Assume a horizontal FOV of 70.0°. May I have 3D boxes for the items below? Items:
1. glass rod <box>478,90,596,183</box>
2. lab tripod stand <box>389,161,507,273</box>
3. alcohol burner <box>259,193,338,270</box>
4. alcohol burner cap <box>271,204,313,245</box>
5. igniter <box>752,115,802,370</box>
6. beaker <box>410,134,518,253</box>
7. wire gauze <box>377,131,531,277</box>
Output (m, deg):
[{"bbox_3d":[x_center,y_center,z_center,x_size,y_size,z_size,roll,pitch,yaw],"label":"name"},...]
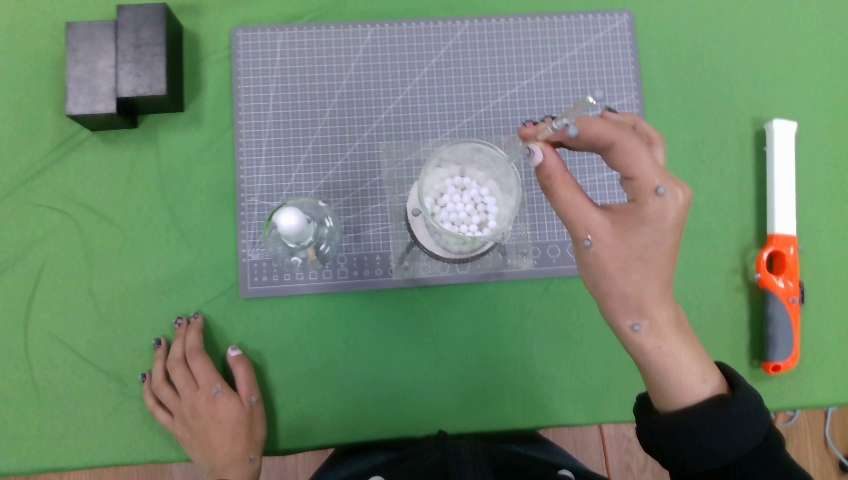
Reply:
[{"bbox_3d":[0.062,-0.057,0.381,0.008,0.199,0.008,1,84,-10],"label":"glass rod"},{"bbox_3d":[0.022,-0.020,0.587,0.148,0.132,0.148,0,82,0],"label":"lab tripod stand"},{"bbox_3d":[-0.124,-0.011,0.590,0.078,0.119,0.077,0,80,-2],"label":"alcohol burner"},{"bbox_3d":[-0.122,-0.016,0.554,0.034,0.048,0.033,0,79,0],"label":"alcohol burner cap"},{"bbox_3d":[0.381,0.001,0.654,0.057,0.025,0.275,5,83,-12],"label":"igniter"},{"bbox_3d":[0.030,-0.028,0.473,0.074,0.100,0.084,-36,84,-6],"label":"beaker"},{"bbox_3d":[0.025,-0.032,0.522,0.125,0.011,0.121,-5,81,-1],"label":"wire gauze"}]
